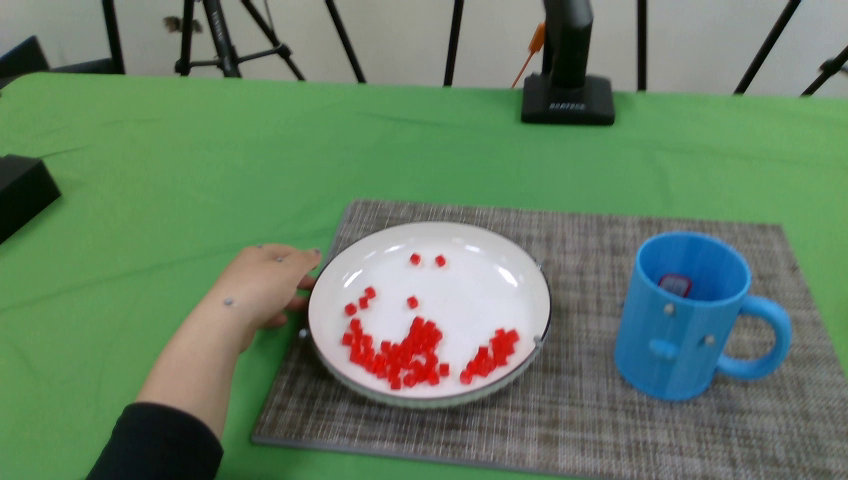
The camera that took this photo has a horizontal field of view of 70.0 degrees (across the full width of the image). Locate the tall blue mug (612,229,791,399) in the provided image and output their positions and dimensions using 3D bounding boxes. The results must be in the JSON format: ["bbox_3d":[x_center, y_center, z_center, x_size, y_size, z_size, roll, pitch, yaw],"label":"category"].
[{"bbox_3d":[0.205,0.058,0.455,0.107,0.109,0.077,0,40,4],"label":"tall blue mug"}]

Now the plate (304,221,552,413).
[{"bbox_3d":[0.004,0.062,0.521,0.207,0.039,0.205,-2,41,2],"label":"plate"}]
